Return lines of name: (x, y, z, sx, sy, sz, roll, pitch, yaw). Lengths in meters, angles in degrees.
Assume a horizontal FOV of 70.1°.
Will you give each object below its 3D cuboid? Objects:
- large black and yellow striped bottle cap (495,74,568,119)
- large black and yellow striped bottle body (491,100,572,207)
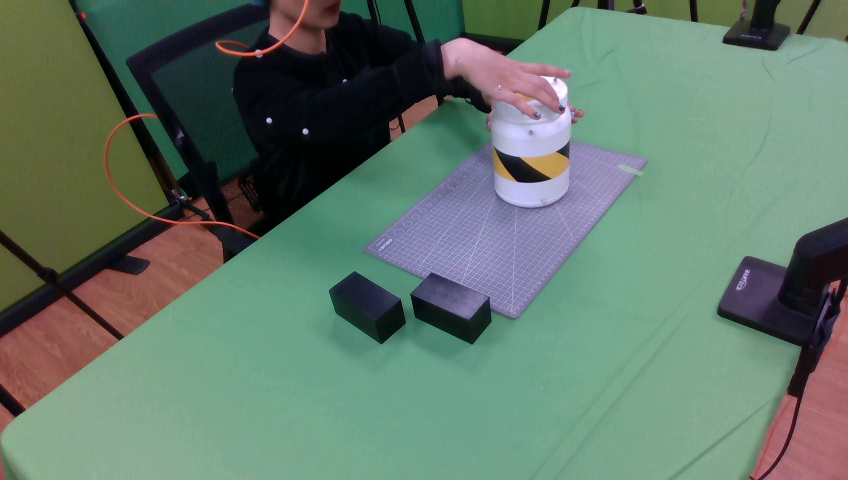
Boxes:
large black and yellow striped bottle cap: (0.169, -0.228, 0.954, 0.115, 0.019, 0.114, -5, 41, 5)
large black and yellow striped bottle body: (0.179, -0.162, 1.009, 0.131, 0.185, 0.130, -5, 40, 5)
